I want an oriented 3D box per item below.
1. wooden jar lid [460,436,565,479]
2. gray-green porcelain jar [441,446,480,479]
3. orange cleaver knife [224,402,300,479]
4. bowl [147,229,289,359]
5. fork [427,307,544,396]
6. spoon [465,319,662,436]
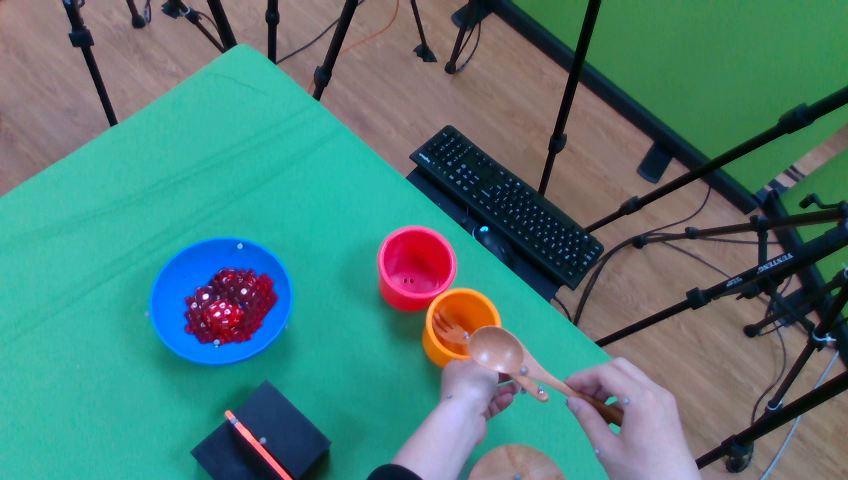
[{"bbox_3d":[0.086,0.248,0.591,0.108,0.021,0.107,4,66,-8],"label":"wooden jar lid"},{"bbox_3d":[0.074,0.275,0.648,0.106,0.127,0.105,5,64,-10],"label":"gray-green porcelain jar"},{"bbox_3d":[-0.136,0.251,0.638,0.012,0.077,0.212,-42,103,-22],"label":"orange cleaver knife"},{"bbox_3d":[-0.232,0.072,0.703,0.152,0.077,0.150,5,65,-10],"label":"bowl"},{"bbox_3d":[0.066,0.125,0.703,0.028,0.019,0.205,-17,26,-28],"label":"fork"},{"bbox_3d":[0.125,0.128,0.548,0.193,0.022,0.041,29,94,10],"label":"spoon"}]
